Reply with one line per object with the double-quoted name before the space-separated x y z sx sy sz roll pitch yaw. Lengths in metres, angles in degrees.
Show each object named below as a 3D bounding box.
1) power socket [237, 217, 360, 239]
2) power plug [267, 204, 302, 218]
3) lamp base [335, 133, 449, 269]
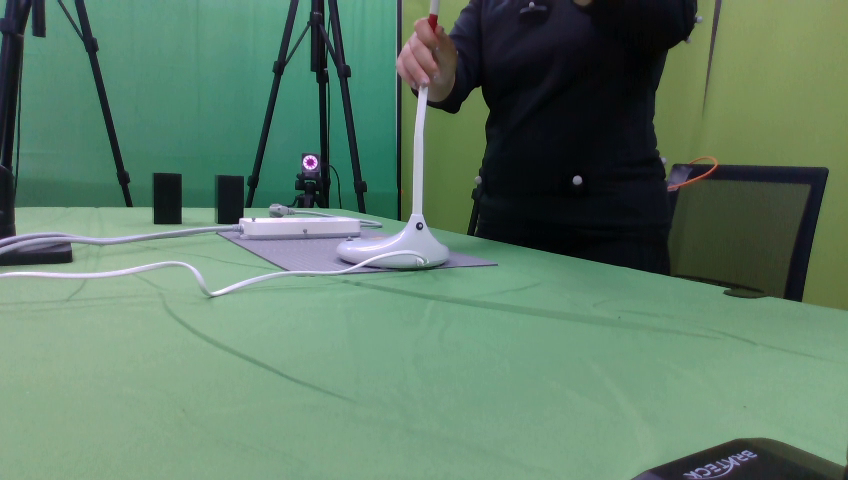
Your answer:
"power socket" -0.220 -0.023 1.080 0.228 0.032 0.072 -2 8 -33
"power plug" -0.328 -0.060 1.405 0.073 0.035 0.052 22 -14 -28
"lamp base" -0.033 -0.057 0.829 0.161 0.180 0.178 -3 13 -36
